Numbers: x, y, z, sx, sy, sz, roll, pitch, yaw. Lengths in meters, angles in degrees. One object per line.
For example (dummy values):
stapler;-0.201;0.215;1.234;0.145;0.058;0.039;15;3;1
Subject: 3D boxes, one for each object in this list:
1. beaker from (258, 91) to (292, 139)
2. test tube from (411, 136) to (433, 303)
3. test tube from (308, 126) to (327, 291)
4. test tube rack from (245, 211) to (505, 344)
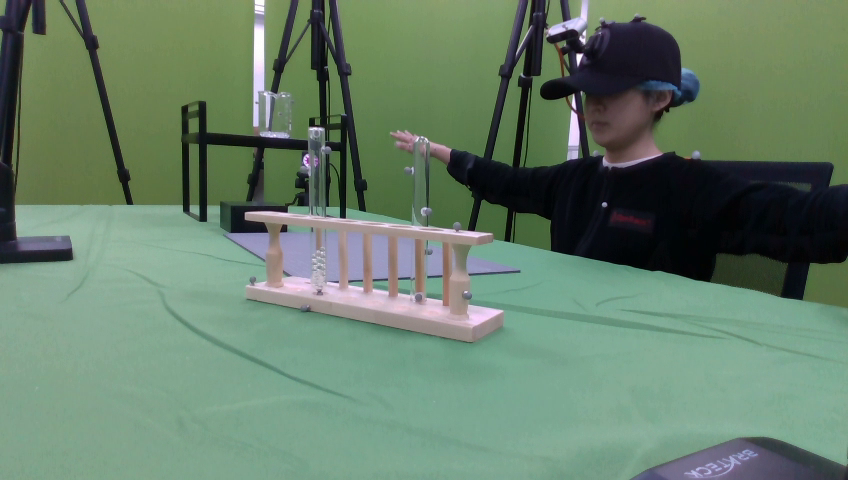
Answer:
beaker;-0.331;-0.276;1.343;0.074;0.100;0.083;0;8;-20
test tube;-0.002;-0.017;0.538;0.017;0.150;0.017;2;7;0
test tube;-0.096;-0.028;0.549;0.017;0.150;0.017;1;7;0
test tube rack;-0.049;0.025;0.547;0.241;0.085;0.067;7;8;28
